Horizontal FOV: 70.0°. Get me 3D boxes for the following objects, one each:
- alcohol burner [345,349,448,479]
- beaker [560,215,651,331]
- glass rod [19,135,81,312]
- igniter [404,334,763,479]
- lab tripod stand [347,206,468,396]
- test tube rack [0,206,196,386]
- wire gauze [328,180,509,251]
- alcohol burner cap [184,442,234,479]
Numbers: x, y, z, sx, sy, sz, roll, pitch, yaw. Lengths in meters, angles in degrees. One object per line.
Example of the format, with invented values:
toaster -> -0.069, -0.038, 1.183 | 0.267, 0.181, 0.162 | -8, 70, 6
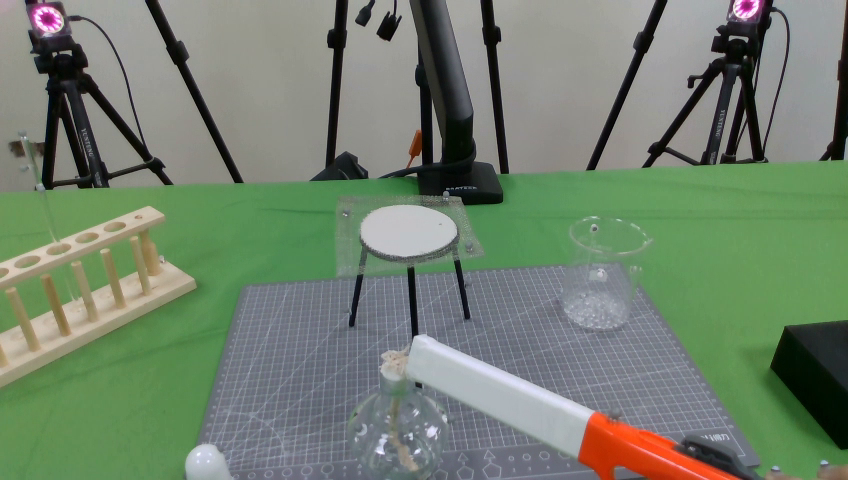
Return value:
alcohol burner -> -0.020, 0.128, 0.453 | 0.078, 0.120, 0.077 | 1, 31, 0
beaker -> 0.180, 0.035, 0.616 | 0.084, 0.101, 0.073 | 1, 32, 2
glass rod -> -0.358, -0.008, 0.582 | 0.008, 0.201, 0.008 | 4, 33, -2
igniter -> 0.102, 0.117, 0.346 | 0.274, 0.057, 0.025 | 19, 12, 32
lab tripod stand -> -0.012, 0.048, 0.565 | 0.148, 0.132, 0.147 | 1, 32, 0
test tube rack -> -0.362, 0.056, 0.606 | 0.066, 0.086, 0.242 | 24, 39, 34
wire gauze -> -0.008, -0.022, 0.518 | 0.125, 0.011, 0.120 | -8, 28, -27
alcohol burner cap -> -0.162, 0.171, 0.451 | 0.034, 0.048, 0.033 | 1, 31, 0
